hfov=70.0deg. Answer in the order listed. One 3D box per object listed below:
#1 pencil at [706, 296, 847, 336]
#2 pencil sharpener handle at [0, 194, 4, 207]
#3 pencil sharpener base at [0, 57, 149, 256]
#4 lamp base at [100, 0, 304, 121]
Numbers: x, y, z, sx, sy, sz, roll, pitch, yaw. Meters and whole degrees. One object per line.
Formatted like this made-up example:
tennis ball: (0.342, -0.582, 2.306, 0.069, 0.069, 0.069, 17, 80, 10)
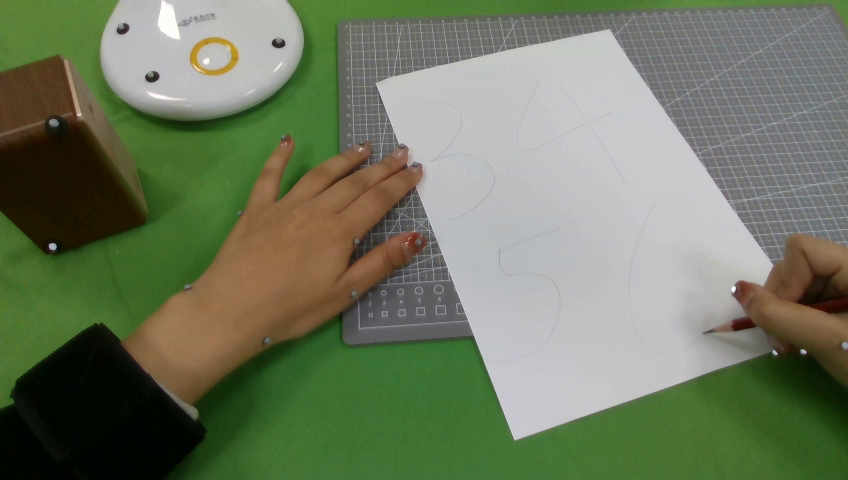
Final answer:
pencil: (0.243, 0.030, 0.322, 0.012, 0.194, 0.012, 20, 58, -36)
pencil sharpener handle: (-0.279, -0.036, 0.357, 0.031, 0.068, 0.035, -22, 64, -13)
pencil sharpener base: (-0.233, -0.047, 0.379, 0.077, 0.108, 0.061, -22, 62, -13)
lamp base: (-0.185, -0.207, 0.434, 0.160, 0.182, 0.177, -32, 62, -19)
